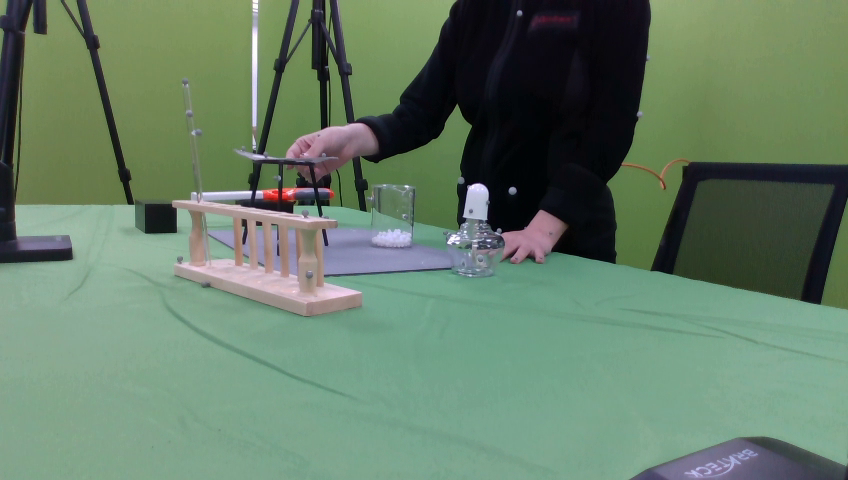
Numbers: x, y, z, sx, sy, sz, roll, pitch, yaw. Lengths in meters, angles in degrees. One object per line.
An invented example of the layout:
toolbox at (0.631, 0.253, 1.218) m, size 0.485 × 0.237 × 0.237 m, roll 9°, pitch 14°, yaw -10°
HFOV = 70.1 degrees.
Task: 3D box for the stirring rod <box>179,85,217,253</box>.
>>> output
stirring rod at (-0.237, -0.073, 0.634) m, size 0.006 × 0.176 × 0.014 m, roll 0°, pitch 9°, yaw 41°

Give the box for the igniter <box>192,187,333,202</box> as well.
igniter at (-0.316, -0.090, 1.213) m, size 0.278 × 0.025 × 0.057 m, roll -5°, pitch 13°, yaw -31°

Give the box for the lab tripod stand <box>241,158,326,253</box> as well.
lab tripod stand at (-0.207, -0.054, 0.895) m, size 0.148 × 0.131 × 0.148 m, roll 3°, pitch 5°, yaw 0°

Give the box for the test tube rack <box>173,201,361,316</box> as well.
test tube rack at (-0.169, 0.010, 0.622) m, size 0.241 × 0.085 × 0.067 m, roll 9°, pitch 10°, yaw 41°

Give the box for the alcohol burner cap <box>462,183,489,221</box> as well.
alcohol burner cap at (0.067, -0.048, 0.765) m, size 0.034 × 0.048 × 0.034 m, roll 5°, pitch 5°, yaw 0°

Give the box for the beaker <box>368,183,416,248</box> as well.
beaker at (-0.050, -0.039, 0.971) m, size 0.074 × 0.100 × 0.083 m, roll -1°, pitch 9°, yaw -24°

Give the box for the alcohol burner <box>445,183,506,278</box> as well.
alcohol burner at (0.066, -0.013, 0.770) m, size 0.078 × 0.119 × 0.078 m, roll 0°, pitch 7°, yaw 0°

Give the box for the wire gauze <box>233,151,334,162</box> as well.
wire gauze at (-0.205, -0.121, 0.887) m, size 0.122 × 0.011 × 0.124 m, roll 0°, pitch 8°, yaw -32°
